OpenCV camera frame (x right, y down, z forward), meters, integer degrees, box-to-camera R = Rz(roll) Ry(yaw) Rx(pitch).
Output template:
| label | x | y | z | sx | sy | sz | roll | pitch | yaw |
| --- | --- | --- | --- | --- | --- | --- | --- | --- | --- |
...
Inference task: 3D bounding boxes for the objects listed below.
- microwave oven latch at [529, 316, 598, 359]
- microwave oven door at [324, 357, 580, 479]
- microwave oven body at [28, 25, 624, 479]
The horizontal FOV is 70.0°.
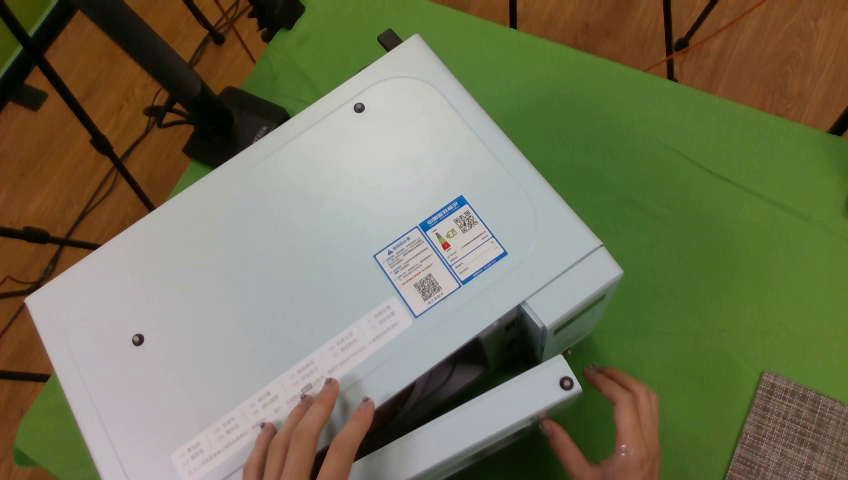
| label | x | y | z | sx | sy | sz | roll | pitch | yaw |
| --- | --- | --- | --- | --- | --- | --- | --- | --- | --- |
| microwave oven latch | 0.156 | 0.100 | 0.680 | 0.079 | 0.030 | 0.030 | -34 | 70 | -3 |
| microwave oven door | -0.027 | 0.213 | 0.561 | 0.356 | 0.245 | 0.039 | -27 | 68 | -1 |
| microwave oven body | -0.086 | 0.061 | 0.628 | 0.441 | 0.262 | 0.323 | -36 | 70 | -3 |
